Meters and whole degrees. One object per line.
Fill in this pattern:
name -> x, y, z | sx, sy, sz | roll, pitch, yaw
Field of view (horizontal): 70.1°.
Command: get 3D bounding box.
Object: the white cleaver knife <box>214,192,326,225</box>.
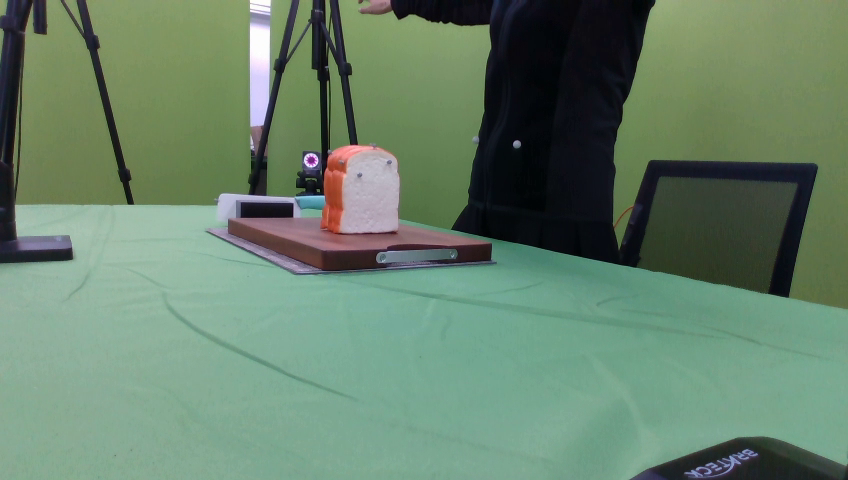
white cleaver knife -> -0.278, -0.063, 1.236 | 0.288, 0.066, 0.021 | 0, 14, -25

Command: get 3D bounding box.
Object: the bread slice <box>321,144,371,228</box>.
bread slice -> -0.105, -0.083, 0.952 | 0.107, 0.134, 0.018 | 2, 6, -32

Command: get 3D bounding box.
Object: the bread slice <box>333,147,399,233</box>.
bread slice -> -0.084, -0.074, 0.908 | 0.105, 0.131, 0.019 | -4, 14, -31
